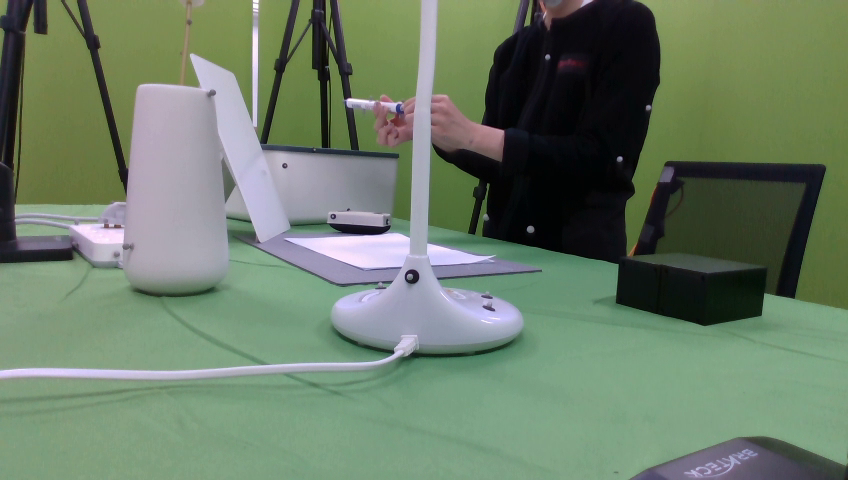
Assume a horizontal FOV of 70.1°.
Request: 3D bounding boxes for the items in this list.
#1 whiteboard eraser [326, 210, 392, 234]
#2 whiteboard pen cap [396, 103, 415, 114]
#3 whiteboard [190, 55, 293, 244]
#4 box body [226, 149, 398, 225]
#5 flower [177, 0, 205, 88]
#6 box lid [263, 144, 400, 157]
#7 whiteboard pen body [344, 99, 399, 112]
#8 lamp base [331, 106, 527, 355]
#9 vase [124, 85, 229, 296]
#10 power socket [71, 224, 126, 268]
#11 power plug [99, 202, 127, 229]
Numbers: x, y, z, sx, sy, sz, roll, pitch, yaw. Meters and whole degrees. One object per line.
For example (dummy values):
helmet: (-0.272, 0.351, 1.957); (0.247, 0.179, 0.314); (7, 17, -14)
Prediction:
whiteboard eraser: (-0.121, -0.033, 1.131); (0.112, 0.042, 0.056); (4, 8, 13)
whiteboard pen cap: (-0.033, -0.224, 1.035); (0.033, 0.018, 0.018); (11, 11, 31)
whiteboard: (-0.362, -0.129, 1.029); (0.144, 0.305, 0.217); (-18, 7, 3)
box body: (-0.265, -0.129, 1.380); (0.253, 0.160, 0.366); (8, 9, 39)
flower: (-0.243, -0.131, 0.609); (0.044, 0.361, 0.038); (-5, -12, 12)
box lid: (-0.263, -0.203, 1.369); (0.262, 0.015, 0.373); (9, 10, 39)
whiteboard pen body: (-0.082, -0.237, 1.064); (0.140, 0.017, 0.017); (13, 12, 30)
lamp base: (0.006, -0.012, 0.478); (0.161, 0.180, 0.179); (2, 10, 2)
vase: (-0.244, -0.047, 0.598); (0.098, 0.200, 0.098); (3, 8, 0)
power socket: (-0.409, 0.004, 0.793); (0.072, 0.032, 0.225); (-2, 8, -37)
power plug: (-0.415, -0.026, 0.848); (0.073, 0.052, 0.035); (6, 5, -28)
